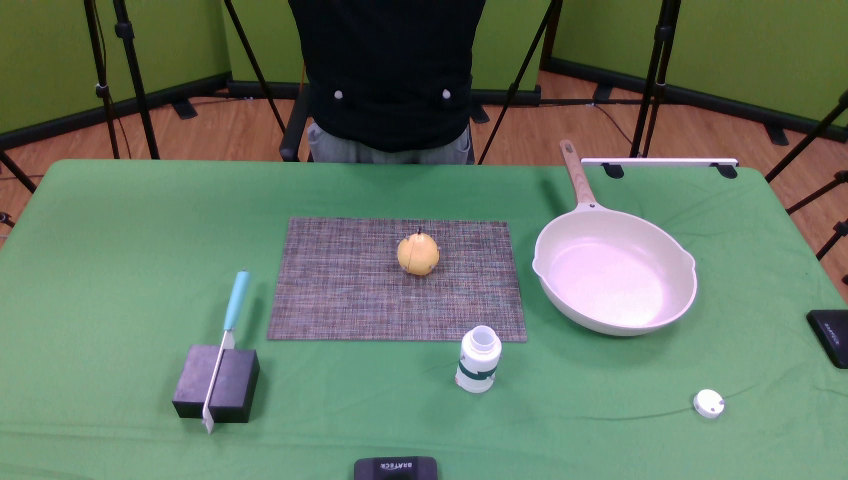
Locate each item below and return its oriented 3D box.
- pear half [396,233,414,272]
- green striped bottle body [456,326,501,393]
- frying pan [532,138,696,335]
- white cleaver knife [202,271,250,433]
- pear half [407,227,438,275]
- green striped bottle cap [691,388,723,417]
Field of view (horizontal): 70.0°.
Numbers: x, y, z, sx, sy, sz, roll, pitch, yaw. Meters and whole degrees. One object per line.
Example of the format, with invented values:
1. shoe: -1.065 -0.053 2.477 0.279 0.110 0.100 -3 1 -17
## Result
1. pear half: -0.036 0.018 1.125 0.031 0.088 0.070 5 50 -1
2. green striped bottle body: 0.086 0.185 0.959 0.063 0.120 0.063 2 46 -2
3. frying pan: 0.336 -0.024 1.190 0.307 0.103 0.484 -2 55 -7
4. white cleaver knife: -0.322 0.168 0.980 0.021 0.066 0.284 7 48 -6
5. pear half: 0.000 0.016 1.117 0.056 0.110 0.076 4 51 0
6. green striped bottle cap: 0.460 0.263 0.984 0.044 0.020 0.044 3 46 -3
